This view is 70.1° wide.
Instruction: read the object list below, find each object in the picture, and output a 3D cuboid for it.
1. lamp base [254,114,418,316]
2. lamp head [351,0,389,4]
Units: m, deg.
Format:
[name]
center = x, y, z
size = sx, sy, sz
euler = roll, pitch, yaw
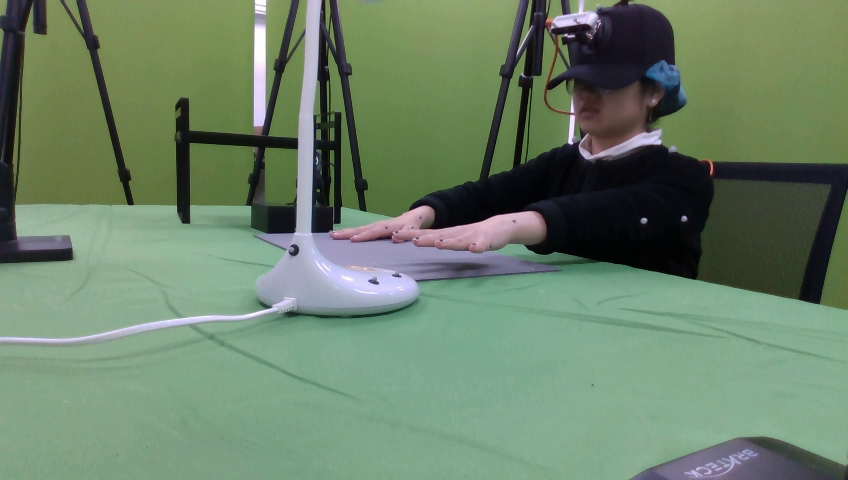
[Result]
[lamp base]
center = -0.086, -0.027, 0.577
size = 0.160, 0.180, 0.179
euler = 4, 10, 16
[lamp head]
center = -0.053, -0.313, 0.597
size = 0.112, 0.112, 0.123
euler = 6, -28, 25
